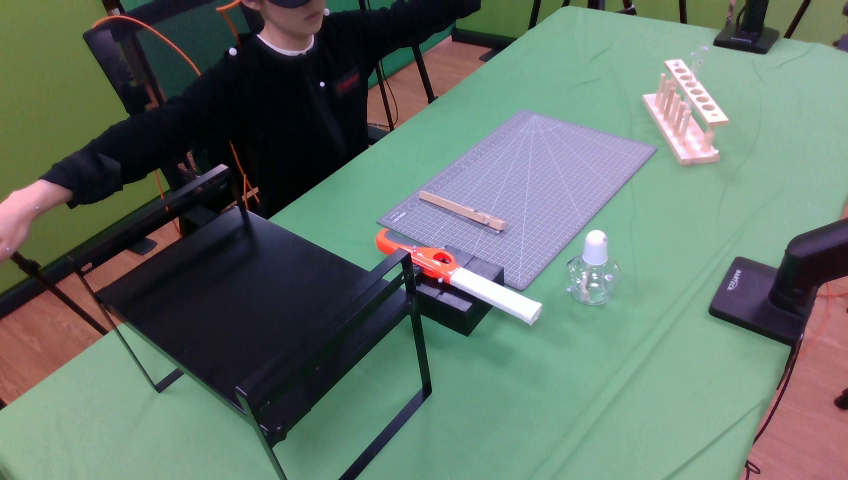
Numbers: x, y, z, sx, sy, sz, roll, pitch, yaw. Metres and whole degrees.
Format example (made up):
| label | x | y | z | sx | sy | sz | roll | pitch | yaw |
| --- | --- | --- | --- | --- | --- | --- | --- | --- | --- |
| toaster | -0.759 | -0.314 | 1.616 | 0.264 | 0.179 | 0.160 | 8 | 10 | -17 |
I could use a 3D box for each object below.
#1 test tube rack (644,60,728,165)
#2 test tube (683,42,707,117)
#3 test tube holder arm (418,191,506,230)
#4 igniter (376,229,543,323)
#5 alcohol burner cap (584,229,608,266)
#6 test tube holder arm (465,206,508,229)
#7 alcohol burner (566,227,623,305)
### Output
| label | x | y | z | sx | sy | sz | roll | pitch | yaw |
| --- | --- | --- | --- | --- | --- | --- | --- | --- | --- |
| test tube rack | 0.485 | -0.246 | 1.140 | 0.067 | 0.085 | 0.241 | -5 | 41 | 4 |
| test tube | 0.497 | -0.292 | 1.114 | 0.017 | 0.151 | 0.017 | -4 | 44 | 4 |
| test tube holder arm | 0.061 | -0.052 | 1.024 | 0.177 | 0.015 | 0.013 | 23 | 13 | 31 |
| igniter | 0.038 | 0.044 | 0.843 | 0.274 | 0.025 | 0.057 | 25 | 47 | 29 |
| alcohol burner cap | 0.233 | 0.007 | 0.814 | 0.034 | 0.048 | 0.033 | -5 | 40 | 4 |
| test tube holder arm | 0.100 | -0.038 | 1.005 | 0.087 | 0.015 | 0.010 | 23 | 14 | 32 |
| alcohol burner | 0.236 | 0.031 | 0.833 | 0.078 | 0.119 | 0.077 | -6 | 39 | 5 |
